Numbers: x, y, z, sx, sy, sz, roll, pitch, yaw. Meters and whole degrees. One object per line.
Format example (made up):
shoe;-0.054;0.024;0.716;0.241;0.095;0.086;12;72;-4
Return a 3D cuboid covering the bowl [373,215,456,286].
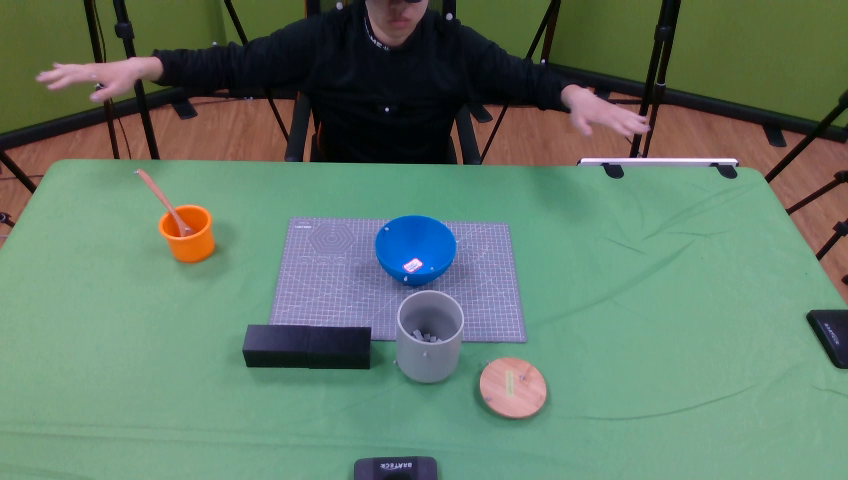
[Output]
bowl;-0.019;0.032;1.123;0.151;0.077;0.150;2;46;-2

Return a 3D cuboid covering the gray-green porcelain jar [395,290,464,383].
gray-green porcelain jar;0.006;0.160;0.972;0.106;0.127;0.105;2;46;-2

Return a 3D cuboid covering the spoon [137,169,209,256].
spoon;-0.466;-0.051;1.123;0.041;0.194;0.021;-41;17;-34

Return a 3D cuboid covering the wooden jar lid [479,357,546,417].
wooden jar lid;0.142;0.240;0.979;0.108;0.021;0.107;1;46;-1
